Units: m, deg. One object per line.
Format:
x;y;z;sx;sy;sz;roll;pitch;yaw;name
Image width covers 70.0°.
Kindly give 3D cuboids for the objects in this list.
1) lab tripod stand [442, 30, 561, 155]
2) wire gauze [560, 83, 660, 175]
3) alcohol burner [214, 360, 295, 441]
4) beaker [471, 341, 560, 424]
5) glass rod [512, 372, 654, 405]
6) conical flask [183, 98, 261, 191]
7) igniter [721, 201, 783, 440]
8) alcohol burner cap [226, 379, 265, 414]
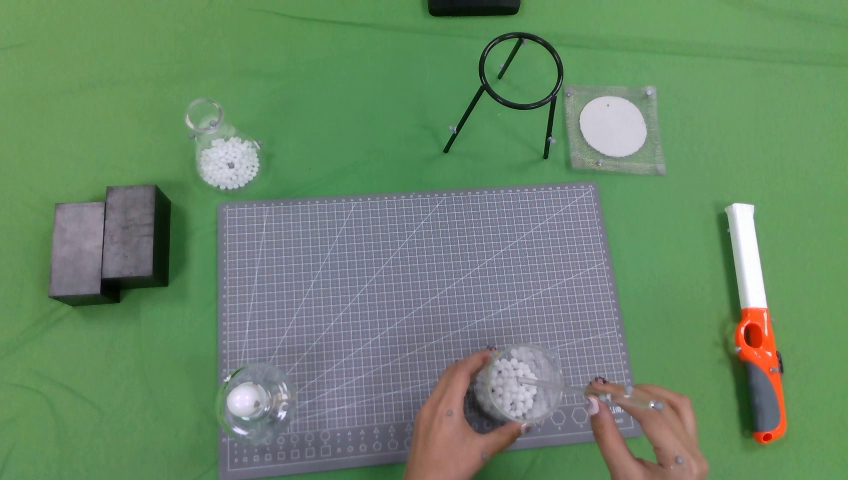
0.091;-0.159;0.691;0.148;0.132;0.147;1;76;-5;lab tripod stand
0.236;-0.144;0.766;0.125;0.011;0.121;2;75;-7;wire gauze
-0.167;0.154;0.585;0.078;0.119;0.077;1;73;-3;alcohol burner
0.091;0.145;0.620;0.084;0.100;0.074;-40;81;-15;beaker
0.121;0.120;0.503;0.008;0.199;0.008;2;82;-19;glass rod
-0.223;-0.106;0.651;0.075;0.122;0.075;1;73;-4;conical flask
0.379;0.088;0.704;0.057;0.025;0.275;5;74;-15;igniter
-0.163;0.143;0.551;0.034;0.048;0.033;2;77;-9;alcohol burner cap
